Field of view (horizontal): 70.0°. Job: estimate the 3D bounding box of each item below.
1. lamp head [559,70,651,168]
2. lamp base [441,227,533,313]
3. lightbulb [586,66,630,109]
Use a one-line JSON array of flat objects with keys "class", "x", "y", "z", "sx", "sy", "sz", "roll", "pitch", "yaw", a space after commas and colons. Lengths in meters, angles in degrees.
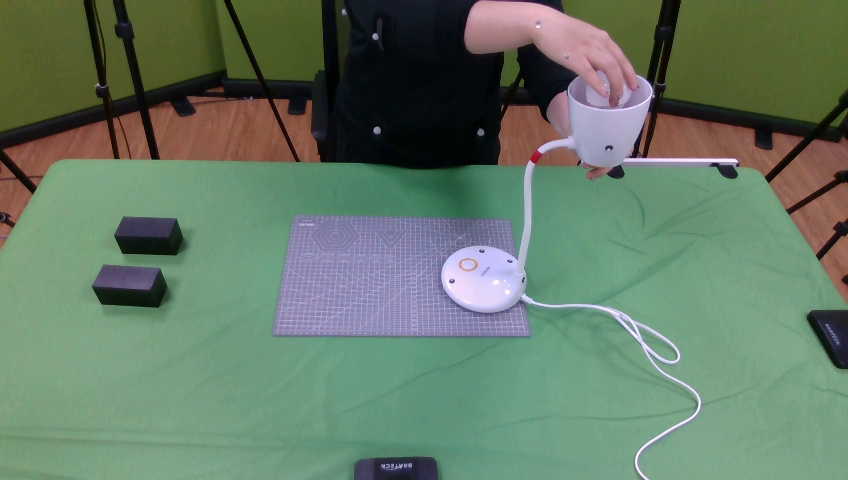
[{"class": "lamp head", "x": 0.251, "y": -0.164, "z": 0.860, "sx": 0.112, "sy": 0.123, "sz": 0.111, "roll": 0, "pitch": 42, "yaw": 0}, {"class": "lamp base", "x": 0.126, "y": 0.022, "z": 1.071, "sx": 0.179, "sy": 0.181, "sz": 0.160, "roll": 23, "pitch": 49, "yaw": 14}, {"class": "lightbulb", "x": 0.255, "y": -0.189, "z": 0.849, "sx": 0.059, "sy": 0.108, "sz": 0.059, "roll": -5, "pitch": 36, "yaw": 3}]
